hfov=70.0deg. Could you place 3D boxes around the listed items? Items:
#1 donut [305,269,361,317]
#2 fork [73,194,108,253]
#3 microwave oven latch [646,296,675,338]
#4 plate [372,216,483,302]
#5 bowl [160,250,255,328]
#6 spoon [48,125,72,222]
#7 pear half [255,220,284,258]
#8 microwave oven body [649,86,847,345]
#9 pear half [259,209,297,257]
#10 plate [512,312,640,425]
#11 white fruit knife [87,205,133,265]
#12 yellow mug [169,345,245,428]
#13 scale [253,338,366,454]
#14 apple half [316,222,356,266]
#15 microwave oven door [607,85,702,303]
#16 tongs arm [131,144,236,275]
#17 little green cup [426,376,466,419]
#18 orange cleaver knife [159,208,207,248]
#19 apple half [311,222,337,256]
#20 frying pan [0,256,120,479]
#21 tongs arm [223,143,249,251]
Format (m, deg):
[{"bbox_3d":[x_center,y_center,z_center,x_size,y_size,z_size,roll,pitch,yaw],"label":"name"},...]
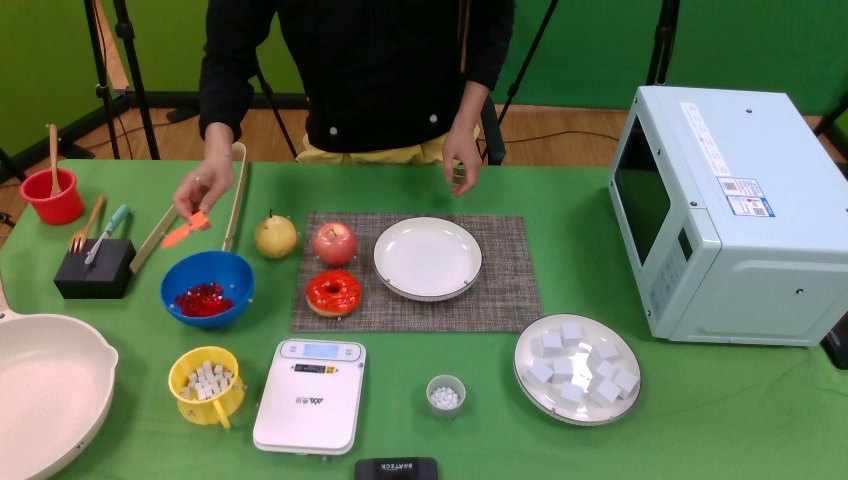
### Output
[{"bbox_3d":[-0.160,0.094,1.075,0.099,0.048,0.098,3,45,-3],"label":"donut"},{"bbox_3d":[-0.634,-0.035,1.158,0.028,0.019,0.206,-8,32,-8],"label":"fork"},{"bbox_3d":[0.412,0.134,1.061,0.030,0.029,0.078,4,45,1],"label":"microwave oven latch"},{"bbox_3d":[0.006,0.038,1.145,0.209,0.038,0.208,2,46,-2],"label":"plate"},{"bbox_3d":[-0.362,0.098,1.040,0.151,0.077,0.150,2,45,-2],"label":"bowl"},{"bbox_3d":[-0.718,-0.131,1.189,0.041,0.021,0.193,-3,90,-7],"label":"spoon"},{"bbox_3d":[-0.294,0.003,1.127,0.070,0.088,0.031,26,50,16],"label":"pear half"},{"bbox_3d":[0.567,-0.053,1.118,0.326,0.261,0.439,2,45,-1],"label":"microwave oven body"},{"bbox_3d":[-0.273,-0.024,1.141,0.076,0.110,0.056,28,50,17],"label":"pear half"},{"bbox_3d":[0.246,0.213,0.999,0.208,0.039,0.206,2,46,-2],"label":"plate"},{"bbox_3d":[-0.584,-0.013,1.129,0.016,0.027,0.206,0,31,-5],"label":"white fruit knife"},{"bbox_3d":[-0.322,0.230,0.922,0.100,0.064,0.130,-24,53,-25],"label":"yellow mug"},{"bbox_3d":[-0.175,0.236,0.951,0.149,0.032,0.199,4,45,0],"label":"scale"},{"bbox_3d":[-0.157,0.015,1.132,0.053,0.075,0.080,28,47,18],"label":"apple half"},{"bbox_3d":[0.423,-0.094,1.140,0.039,0.245,0.353,2,46,-1],"label":"microwave oven door"},{"bbox_3d":[-0.483,-0.076,1.236,0.028,0.028,0.385,5,45,14],"label":"tongs arm"},{"bbox_3d":[0.033,0.248,0.950,0.061,0.039,0.061,2,46,-2],"label":"little green cup"},{"bbox_3d":[-0.357,-0.020,0.905,0.077,0.012,0.210,-32,17,-10],"label":"orange cleaver knife"},{"bbox_3d":[-0.190,-0.001,1.143,0.032,0.081,0.081,27,50,18],"label":"apple half"},{"bbox_3d":[-0.647,0.164,0.936,0.307,0.103,0.485,-19,58,-22],"label":"frying pan"},{"bbox_3d":[-0.397,-0.073,1.232,0.051,0.027,0.382,-3,45,1],"label":"tongs arm"}]
